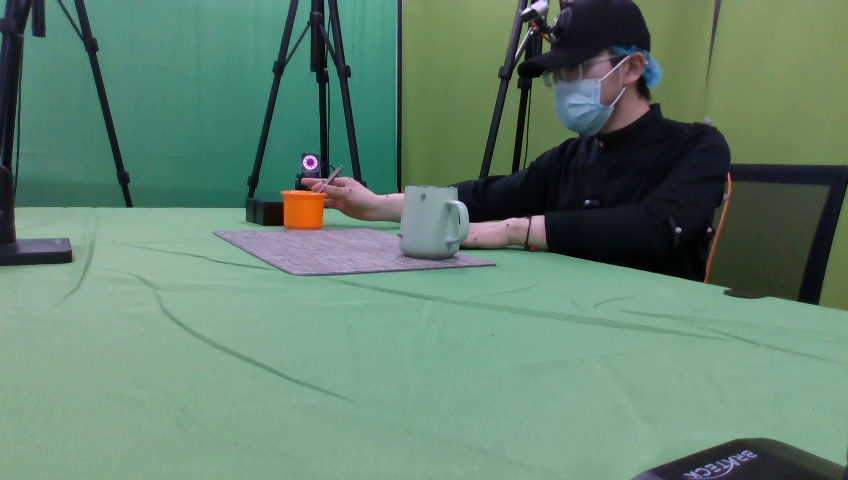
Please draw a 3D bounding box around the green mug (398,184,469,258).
[{"bbox_3d":[0.019,-0.028,0.890,0.093,0.105,0.124,-4,9,-41],"label":"green mug"}]

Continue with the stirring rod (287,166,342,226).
[{"bbox_3d":[-0.223,-0.092,1.240,0.014,0.006,0.176,15,56,33],"label":"stirring rod"}]
